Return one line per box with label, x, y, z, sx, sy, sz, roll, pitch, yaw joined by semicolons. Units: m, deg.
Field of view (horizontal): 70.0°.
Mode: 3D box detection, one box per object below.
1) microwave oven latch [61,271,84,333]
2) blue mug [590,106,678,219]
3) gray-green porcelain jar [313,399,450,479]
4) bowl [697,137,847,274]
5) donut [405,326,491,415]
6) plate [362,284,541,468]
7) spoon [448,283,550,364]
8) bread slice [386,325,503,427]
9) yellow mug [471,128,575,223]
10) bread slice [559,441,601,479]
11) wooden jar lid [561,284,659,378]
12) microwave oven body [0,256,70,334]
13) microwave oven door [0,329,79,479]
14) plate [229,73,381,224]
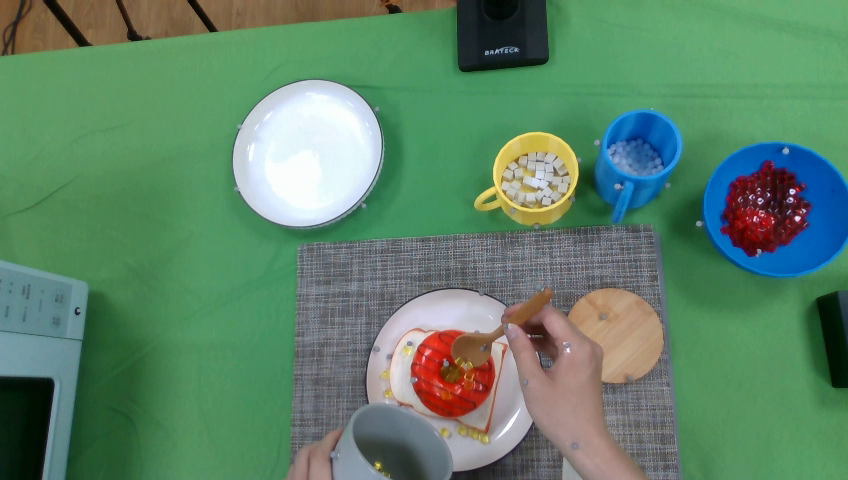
microwave oven latch;-0.470;0.082;0.795;0.030;0.029;0.079;1;78;10
blue mug;0.233;-0.080;0.699;0.082;0.106;0.116;18;81;13
gray-green porcelain jar;-0.050;0.234;0.573;0.105;0.106;0.127;34;110;15
bowl;0.377;-0.030;0.677;0.151;0.077;0.150;-2;77;10
donut;0.027;0.147;0.684;0.099;0.048;0.098;-1;78;6
plate;0.033;0.156;0.710;0.209;0.038;0.208;-2;77;9
spoon;0.071;0.084;0.584;0.041;0.194;0.021;37;59;0
bread slice;0.020;0.155;0.716;0.131;0.019;0.104;10;79;9
yellow mug;0.117;-0.071;0.737;0.131;0.064;0.099;-24;74;5
bread slice;0.156;0.266;0.619;0.018;0.135;0.106;5;76;3
wooden jar lid;0.214;0.105;0.700;0.108;0.021;0.108;-2;78;9
microwave oven body;-0.633;0.237;0.688;0.325;0.261;0.439;-2;78;9
microwave oven door;-0.491;0.272;0.651;0.039;0.245;0.354;-2;77;10
plate;-0.155;-0.119;0.808;0.207;0.039;0.206;-2;77;9
